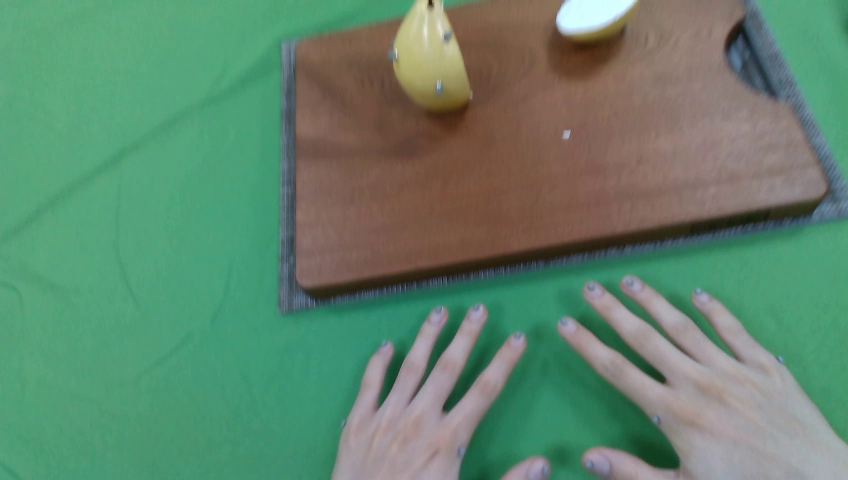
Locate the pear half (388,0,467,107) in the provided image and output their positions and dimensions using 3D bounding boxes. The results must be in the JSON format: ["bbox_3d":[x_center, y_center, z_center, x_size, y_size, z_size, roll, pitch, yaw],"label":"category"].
[{"bbox_3d":[-0.003,-0.155,0.483,0.056,0.111,0.075,-26,57,-3],"label":"pear half"}]

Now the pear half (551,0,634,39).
[{"bbox_3d":[0.149,-0.197,0.520,0.070,0.031,0.087,9,50,32],"label":"pear half"}]
